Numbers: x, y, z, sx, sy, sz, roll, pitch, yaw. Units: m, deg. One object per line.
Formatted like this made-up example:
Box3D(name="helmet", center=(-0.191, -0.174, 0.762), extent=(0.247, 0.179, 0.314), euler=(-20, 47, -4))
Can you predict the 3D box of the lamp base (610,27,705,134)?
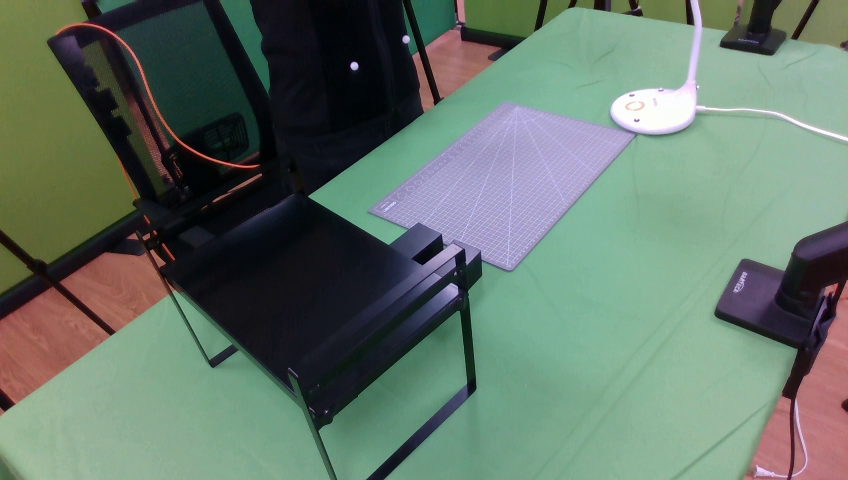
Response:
Box3D(name="lamp base", center=(0.458, -0.317, 1.154), extent=(0.179, 0.181, 0.159), euler=(-5, 41, -1))
